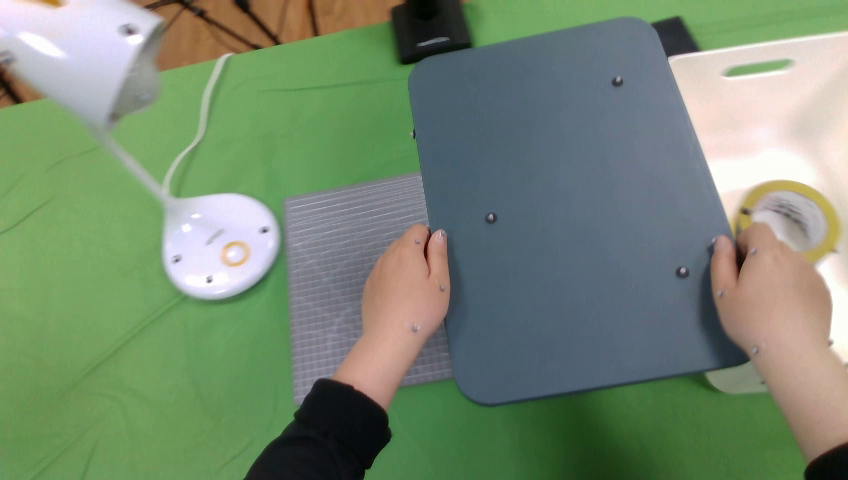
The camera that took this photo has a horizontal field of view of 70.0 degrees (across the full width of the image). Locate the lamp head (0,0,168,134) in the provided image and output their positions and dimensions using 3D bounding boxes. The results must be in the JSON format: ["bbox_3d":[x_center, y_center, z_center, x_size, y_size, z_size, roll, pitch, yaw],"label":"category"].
[{"bbox_3d":[-0.294,-0.163,0.505,0.123,0.112,0.112,25,67,-17],"label":"lamp head"}]

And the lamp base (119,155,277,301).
[{"bbox_3d":[-0.303,-0.029,0.773,0.178,0.182,0.160,25,70,22],"label":"lamp base"}]

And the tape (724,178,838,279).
[{"bbox_3d":[0.422,-0.015,0.722,0.117,0.053,0.116,-3,64,6],"label":"tape"}]

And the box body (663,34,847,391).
[{"bbox_3d":[0.411,-0.027,0.675,0.254,0.162,0.361,-7,64,5],"label":"box body"}]

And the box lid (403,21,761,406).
[{"bbox_3d":[0.128,-0.047,0.572,0.263,0.015,0.368,-11,66,3],"label":"box lid"}]
